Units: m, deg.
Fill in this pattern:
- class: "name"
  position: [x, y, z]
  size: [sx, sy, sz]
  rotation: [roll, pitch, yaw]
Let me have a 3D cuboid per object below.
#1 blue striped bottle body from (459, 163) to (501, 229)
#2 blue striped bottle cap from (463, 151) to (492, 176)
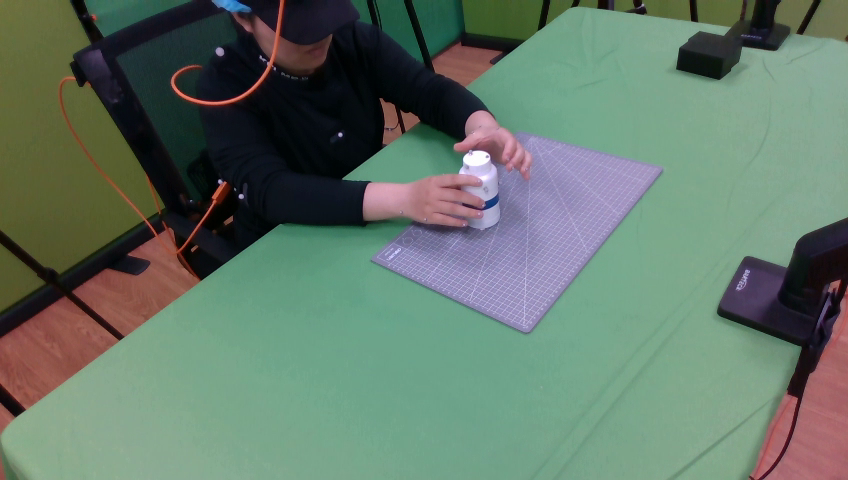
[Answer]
- class: "blue striped bottle body"
  position: [0.091, -0.083, 0.982]
  size: [0.063, 0.121, 0.063]
  rotation: [-6, 40, 5]
- class: "blue striped bottle cap"
  position: [0.084, -0.121, 0.949]
  size: [0.044, 0.021, 0.044]
  rotation: [-5, 38, 5]
